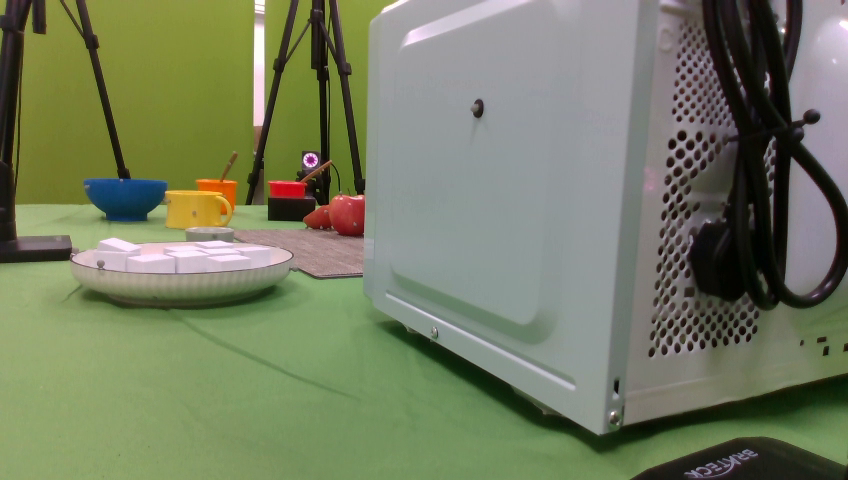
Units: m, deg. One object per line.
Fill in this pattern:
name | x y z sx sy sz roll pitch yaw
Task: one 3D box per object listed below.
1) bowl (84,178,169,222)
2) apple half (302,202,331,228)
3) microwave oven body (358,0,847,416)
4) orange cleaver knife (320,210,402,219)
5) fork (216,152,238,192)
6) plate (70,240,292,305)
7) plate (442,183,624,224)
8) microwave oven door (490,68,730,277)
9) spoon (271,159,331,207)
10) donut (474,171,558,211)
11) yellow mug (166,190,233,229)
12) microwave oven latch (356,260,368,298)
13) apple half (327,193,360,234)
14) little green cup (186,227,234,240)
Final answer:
bowl | -0.584 -0.078 1.194 0.151 0.077 0.151 3 8 0
apple half | -0.193 -0.044 1.169 0.081 0.032 0.081 -24 -11 -5
microwave oven body | 0.211 -0.047 0.475 0.444 0.260 0.324 -1 7 -28
orange cleaver knife | -0.142 -0.057 1.394 0.077 0.012 0.212 1 6 44
fork | -0.455 -0.132 1.367 0.028 0.018 0.207 -3 -34 -38
plate | -0.241 0.032 0.618 0.208 0.039 0.207 2 8 0
plate | 0.125 -0.045 0.709 0.209 0.038 0.209 0 8 0
microwave oven door | 0.230 -0.098 0.834 0.039 0.243 0.354 -4 9 -37
spoon | -0.308 -0.142 1.514 0.193 0.021 0.041 -41 3 8
donut | 0.108 -0.058 0.717 0.099 0.048 0.099 -1 7 0
yellow mug | -0.415 -0.057 1.131 0.130 0.064 0.100 6 8 16
microwave oven latch | -0.020 0.033 0.530 0.079 0.029 0.030 0 7 -26
apple half | -0.132 -0.047 1.087 0.081 0.074 0.053 5 11 -13
little green cup | -0.284 0.005 0.805 0.061 0.038 0.061 2 8 0
